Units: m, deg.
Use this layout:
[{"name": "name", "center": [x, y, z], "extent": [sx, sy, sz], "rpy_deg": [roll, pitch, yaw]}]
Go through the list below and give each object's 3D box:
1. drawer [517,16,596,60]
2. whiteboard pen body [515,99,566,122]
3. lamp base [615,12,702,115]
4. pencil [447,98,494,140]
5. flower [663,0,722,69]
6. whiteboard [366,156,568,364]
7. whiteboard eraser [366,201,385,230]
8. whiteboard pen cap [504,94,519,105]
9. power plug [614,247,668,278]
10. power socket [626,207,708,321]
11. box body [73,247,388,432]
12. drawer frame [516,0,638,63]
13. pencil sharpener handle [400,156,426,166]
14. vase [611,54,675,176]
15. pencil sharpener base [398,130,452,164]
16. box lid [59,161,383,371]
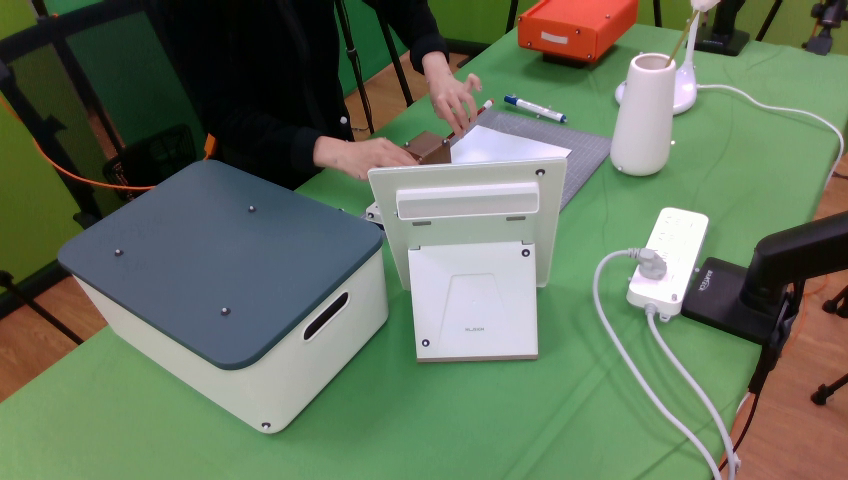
[{"name": "drawer", "center": [0.353, -0.506, 1.405], "extent": [0.193, 0.073, 0.212], "rpy_deg": [23, 49, 32]}, {"name": "whiteboard pen body", "center": [0.234, -0.274, 1.262], "extent": [0.139, 0.017, 0.017], "rpy_deg": [28, 51, 29]}, {"name": "lamp base", "center": [0.484, -0.364, 1.211], "extent": [0.180, 0.181, 0.159], "rpy_deg": [-15, 41, -14]}, {"name": "pencil", "center": [0.070, -0.205, 1.089], "extent": [0.012, 0.012, 0.194], "rpy_deg": [25, 54, 32]}, {"name": "flower", "center": [0.379, -0.261, 0.965], "extent": [0.044, 0.362, 0.038], "rpy_deg": [20, 53, 5]}, {"name": "whiteboard", "center": [0.059, 0.050, 0.738], "extent": [0.217, 0.307, 0.143], "rpy_deg": [-2, 60, 6]}, {"name": "whiteboard eraser", "center": [-0.038, -0.038, 1.006], "extent": [0.112, 0.042, 0.055], "rpy_deg": [16, 47, 25]}, {"name": "whiteboard pen cap", "center": [0.190, -0.299, 1.292], "extent": [0.033, 0.018, 0.018], "rpy_deg": [30, 52, 28]}, {"name": "power plug", "center": [0.306, 0.031, 0.851], "extent": [0.072, 0.053, 0.035], "rpy_deg": [24, 49, 33]}, {"name": "power socket", "center": [0.359, 0.025, 0.886], "extent": [0.072, 0.033, 0.227], "rpy_deg": [16, 46, 26]}, {"name": "box body", "center": [-0.255, 0.065, 0.827], "extent": [0.361, 0.161, 0.255], "rpy_deg": [21, 48, 29]}, {"name": "drawer frame", "center": [0.355, -0.508, 1.410], "extent": [0.200, 0.083, 0.214], "rpy_deg": [23, 51, 32]}, {"name": "pencil sharpener handle", "center": [-0.025, -0.117, 0.992], "extent": [0.031, 0.036, 0.067], "rpy_deg": [-39, 24, -31]}, {"name": "vase", "center": [0.377, -0.209, 1.031], "extent": [0.098, 0.201, 0.097], "rpy_deg": [-3, 40, 3]}, {"name": "pencil sharpener base", "center": [0.004, -0.123, 1.049], "extent": [0.061, 0.107, 0.077], "rpy_deg": [28, 52, 34]}, {"name": "box lid", "center": [-0.262, 0.010, 0.777], "extent": [0.369, 0.015, 0.264], "rpy_deg": [21, 48, 29]}]
